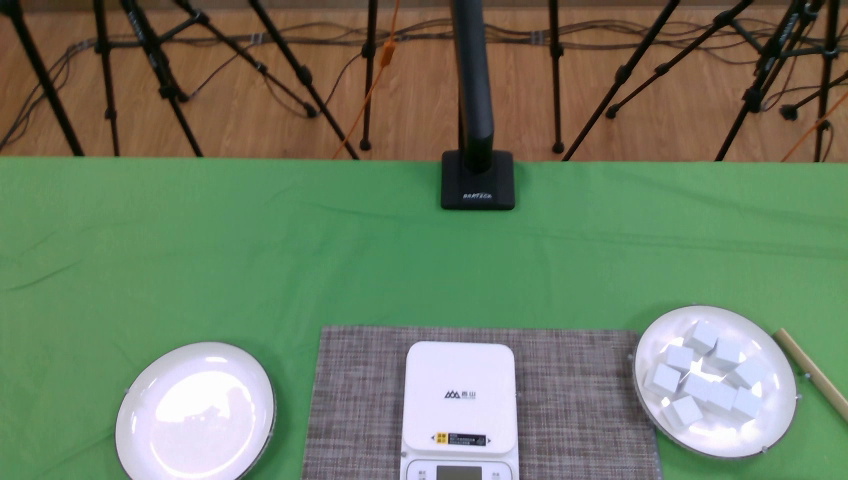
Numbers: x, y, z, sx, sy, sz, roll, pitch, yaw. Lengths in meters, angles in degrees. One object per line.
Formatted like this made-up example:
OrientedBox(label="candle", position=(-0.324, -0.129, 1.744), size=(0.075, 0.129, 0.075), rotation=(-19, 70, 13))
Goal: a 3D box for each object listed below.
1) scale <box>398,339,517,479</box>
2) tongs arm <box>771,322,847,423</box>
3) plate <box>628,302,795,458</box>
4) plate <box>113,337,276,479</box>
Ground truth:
OrientedBox(label="scale", position=(0.045, 0.228, 0.792), size=(0.148, 0.032, 0.199), rotation=(1, 61, 3))
OrientedBox(label="tongs arm", position=(0.581, 0.262, 0.759), size=(0.028, 0.028, 0.384), rotation=(-25, 63, -15))
OrientedBox(label="plate", position=(0.375, 0.185, 0.806), size=(0.207, 0.039, 0.206), rotation=(-1, 60, 2))
OrientedBox(label="plate", position=(-0.298, 0.232, 0.802), size=(0.209, 0.038, 0.207), rotation=(-1, 61, 2))
